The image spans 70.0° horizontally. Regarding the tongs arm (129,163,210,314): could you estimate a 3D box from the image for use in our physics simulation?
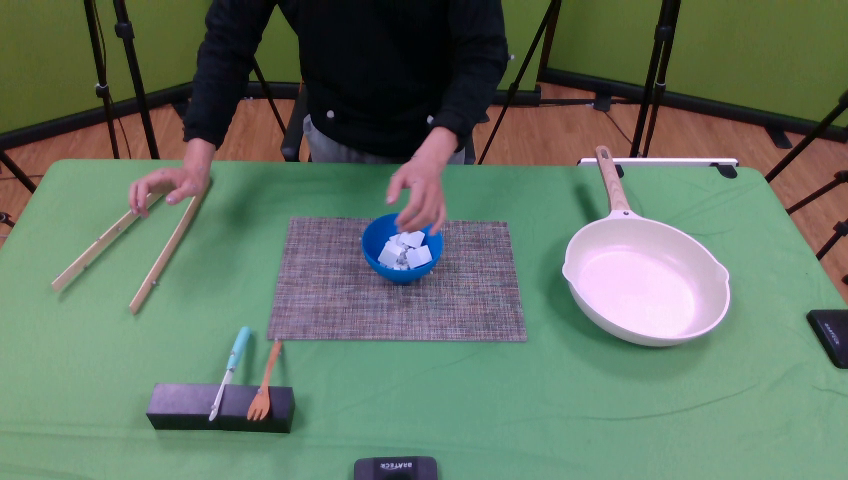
[{"bbox_3d":[-0.483,-0.017,1.169,0.028,0.028,0.385,4,46,4],"label":"tongs arm"}]

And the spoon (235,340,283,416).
[{"bbox_3d":[-0.244,0.207,0.932,0.042,0.022,0.193,28,25,-8],"label":"spoon"}]

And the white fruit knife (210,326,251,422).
[{"bbox_3d":[-0.300,0.201,0.941,0.016,0.027,0.206,-2,32,1],"label":"white fruit knife"}]

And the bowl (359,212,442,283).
[{"bbox_3d":[-0.044,0.026,1.125,0.151,0.077,0.150,2,46,-2],"label":"bowl"}]

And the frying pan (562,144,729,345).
[{"bbox_3d":[0.396,-0.008,1.179,0.307,0.103,0.484,1,55,-4],"label":"frying pan"}]

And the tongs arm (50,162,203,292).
[{"bbox_3d":[-0.561,-0.036,1.178,0.050,0.026,0.383,16,46,11],"label":"tongs arm"}]
